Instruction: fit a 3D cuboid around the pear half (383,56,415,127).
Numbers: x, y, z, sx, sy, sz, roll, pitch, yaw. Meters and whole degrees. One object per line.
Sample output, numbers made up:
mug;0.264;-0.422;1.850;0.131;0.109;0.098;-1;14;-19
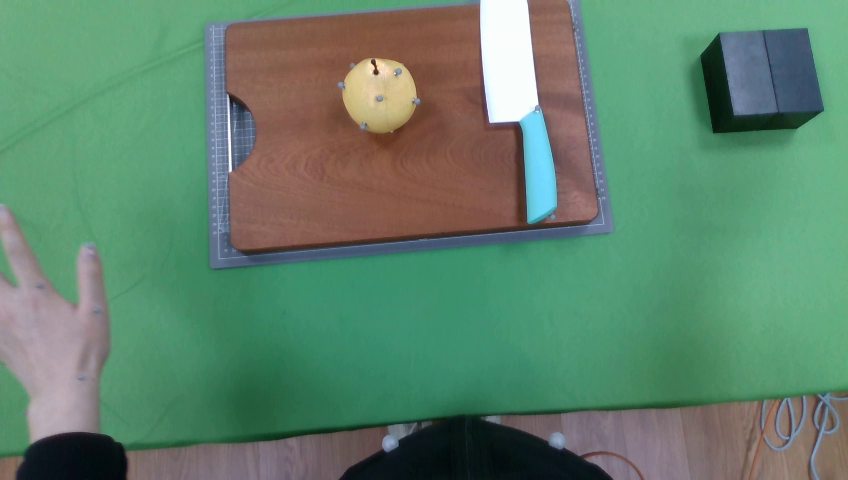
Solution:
pear half;-0.025;-0.158;0.635;0.031;0.088;0.070;-2;73;-1

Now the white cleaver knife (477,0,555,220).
white cleaver knife;0.099;-0.158;0.676;0.066;0.021;0.284;-6;74;4

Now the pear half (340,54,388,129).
pear half;-0.060;-0.161;0.626;0.056;0.110;0.076;-2;74;0
